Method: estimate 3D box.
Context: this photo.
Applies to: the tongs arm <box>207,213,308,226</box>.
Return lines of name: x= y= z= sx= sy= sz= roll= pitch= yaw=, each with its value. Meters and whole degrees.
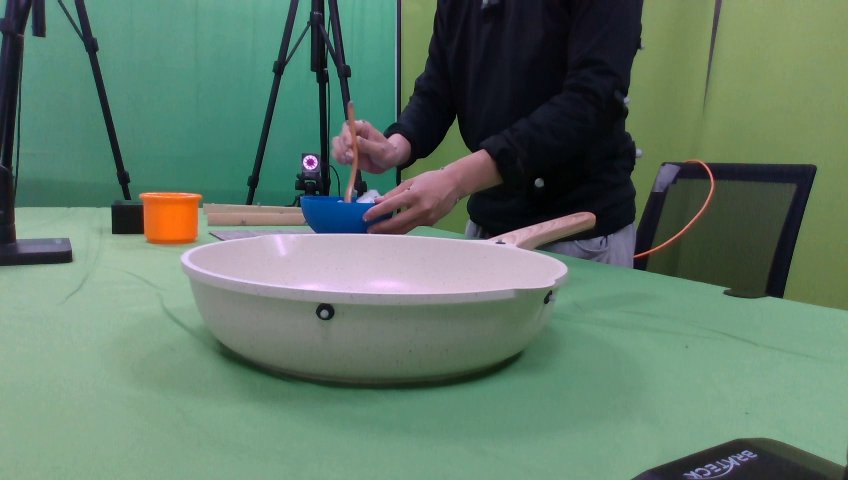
tongs arm: x=-0.264 y=-0.046 z=1.297 sx=0.390 sy=0.028 sz=0.028 roll=-2 pitch=7 yaw=-32

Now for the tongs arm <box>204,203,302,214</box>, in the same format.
tongs arm: x=-0.295 y=-0.062 z=1.370 sx=0.386 sy=0.026 sz=0.050 roll=1 pitch=9 yaw=-19

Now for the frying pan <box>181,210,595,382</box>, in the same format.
frying pan: x=0.034 y=0.019 z=0.557 sx=0.305 sy=0.102 sz=0.490 roll=10 pitch=19 yaw=42

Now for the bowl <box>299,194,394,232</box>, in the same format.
bowl: x=-0.123 y=-0.029 z=0.960 sx=0.151 sy=0.077 sz=0.151 roll=2 pitch=7 yaw=0

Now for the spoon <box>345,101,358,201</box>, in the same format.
spoon: x=-0.110 y=-0.118 z=0.936 sx=0.022 sy=0.193 sz=0.041 roll=2 pitch=1 yaw=-2
